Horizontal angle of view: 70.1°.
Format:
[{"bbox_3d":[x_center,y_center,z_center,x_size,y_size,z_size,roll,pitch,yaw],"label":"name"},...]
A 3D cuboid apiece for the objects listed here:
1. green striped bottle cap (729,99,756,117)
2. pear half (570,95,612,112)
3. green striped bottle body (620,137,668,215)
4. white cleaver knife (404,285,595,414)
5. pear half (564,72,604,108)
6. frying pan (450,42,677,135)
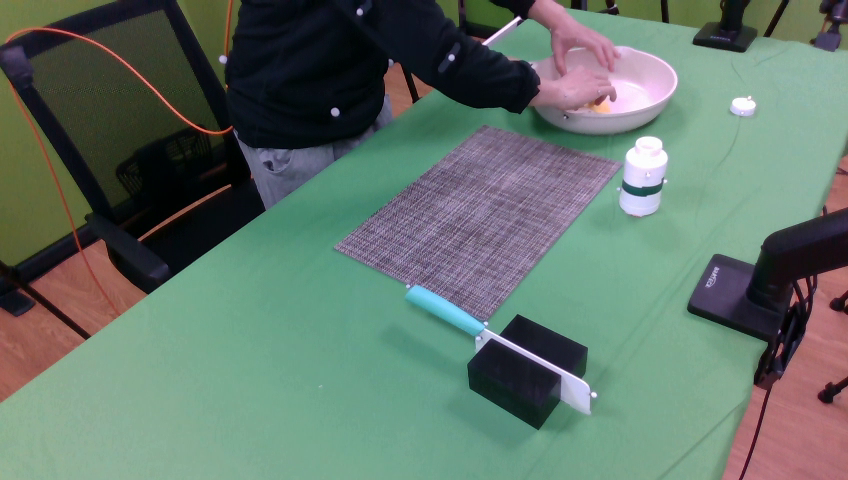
[{"bbox_3d":[0.623,-0.259,1.182,0.044,0.020,0.044,-3,40,3],"label":"green striped bottle cap"},{"bbox_3d":[0.333,-0.268,1.192,0.088,0.031,0.070,27,13,3],"label":"pear half"},{"bbox_3d":[0.350,-0.103,0.963,0.063,0.120,0.063,-4,41,4],"label":"green striped bottle body"},{"bbox_3d":[0.083,0.135,0.764,0.284,0.066,0.021,28,46,31],"label":"white cleaver knife"},{"bbox_3d":[0.325,-0.312,1.258,0.075,0.056,0.110,24,55,38],"label":"pear half"},{"bbox_3d":[0.268,-0.344,1.266,0.485,0.103,0.307,26,49,21],"label":"frying pan"}]
